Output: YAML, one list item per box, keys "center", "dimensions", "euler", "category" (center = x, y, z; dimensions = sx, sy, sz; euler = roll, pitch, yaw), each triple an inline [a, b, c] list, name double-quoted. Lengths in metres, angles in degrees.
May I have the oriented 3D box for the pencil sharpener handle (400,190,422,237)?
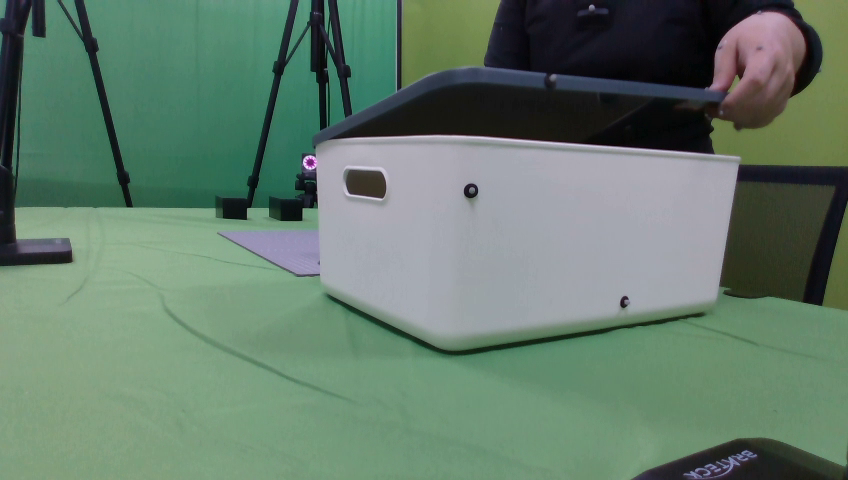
- center: [-0.016, -0.038, 0.872]
  dimensions: [0.031, 0.067, 0.036]
  euler: [-1, 15, -30]
  category: "pencil sharpener handle"

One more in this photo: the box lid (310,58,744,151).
- center: [0.098, -0.110, 0.595]
  dimensions: [0.373, 0.015, 0.262]
  euler: [-3, -3, -33]
  category: "box lid"

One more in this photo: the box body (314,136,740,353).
- center: [0.098, -0.012, 0.605]
  dimensions: [0.366, 0.160, 0.253]
  euler: [-2, 8, -33]
  category: "box body"

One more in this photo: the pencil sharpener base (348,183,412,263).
- center: [-0.059, -0.024, 0.846]
  dimensions: [0.077, 0.107, 0.061]
  euler: [-1, 7, -30]
  category: "pencil sharpener base"
